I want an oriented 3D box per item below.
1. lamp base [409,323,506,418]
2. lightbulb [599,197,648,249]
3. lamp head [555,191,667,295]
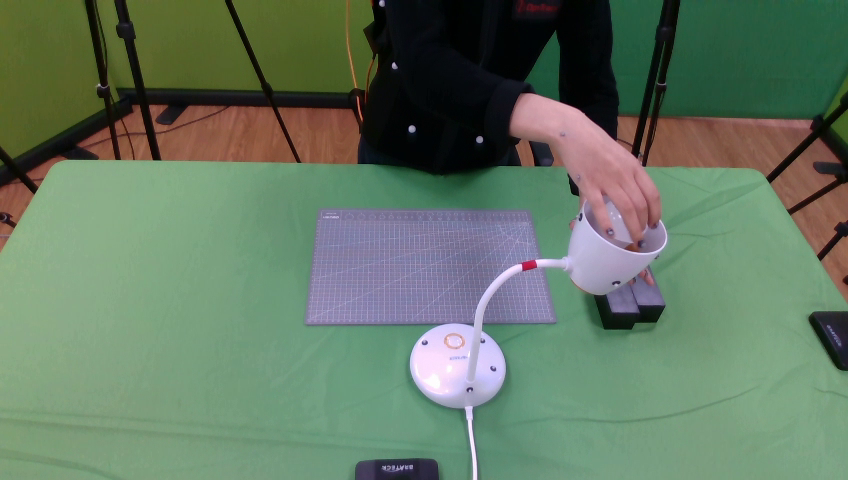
[{"bbox_3d":[0.063,0.161,0.940,0.161,0.181,0.178,-10,51,-13],"label":"lamp base"},{"bbox_3d":[0.247,-0.007,0.781,0.059,0.108,0.059,11,39,-9],"label":"lightbulb"},{"bbox_3d":[0.235,0.015,0.794,0.113,0.123,0.111,13,43,-13],"label":"lamp head"}]
